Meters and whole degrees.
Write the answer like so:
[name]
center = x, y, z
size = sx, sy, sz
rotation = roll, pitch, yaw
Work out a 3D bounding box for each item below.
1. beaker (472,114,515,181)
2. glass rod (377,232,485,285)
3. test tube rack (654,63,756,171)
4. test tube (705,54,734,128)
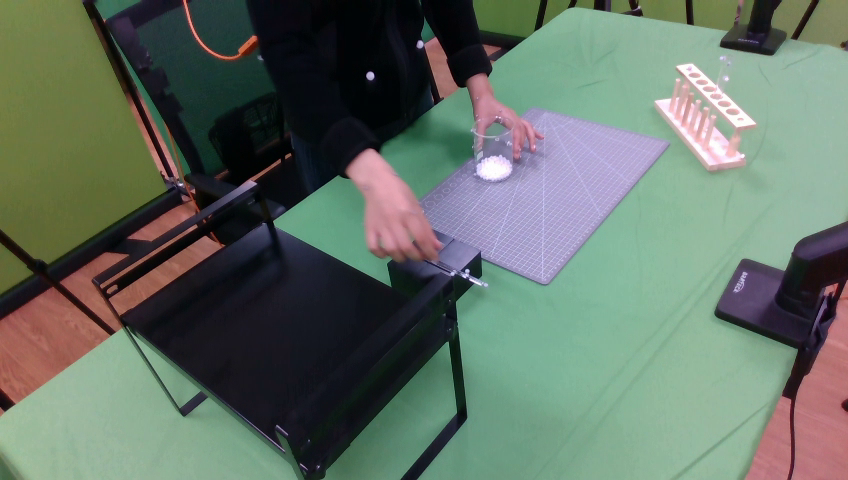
[beaker]
center = 0.127, -0.165, 1.084
size = 0.073, 0.101, 0.084
rotation = 15, 45, 24
[glass rod]
center = 0.006, 0.025, 0.878
size = 0.198, 0.008, 0.008
rotation = 24, 50, 31
[test tube rack]
center = 0.510, -0.234, 1.120
size = 0.067, 0.085, 0.241
rotation = -8, 41, -1
[test tube]
center = 0.523, -0.260, 1.073
size = 0.017, 0.151, 0.017
rotation = -4, 46, 4
